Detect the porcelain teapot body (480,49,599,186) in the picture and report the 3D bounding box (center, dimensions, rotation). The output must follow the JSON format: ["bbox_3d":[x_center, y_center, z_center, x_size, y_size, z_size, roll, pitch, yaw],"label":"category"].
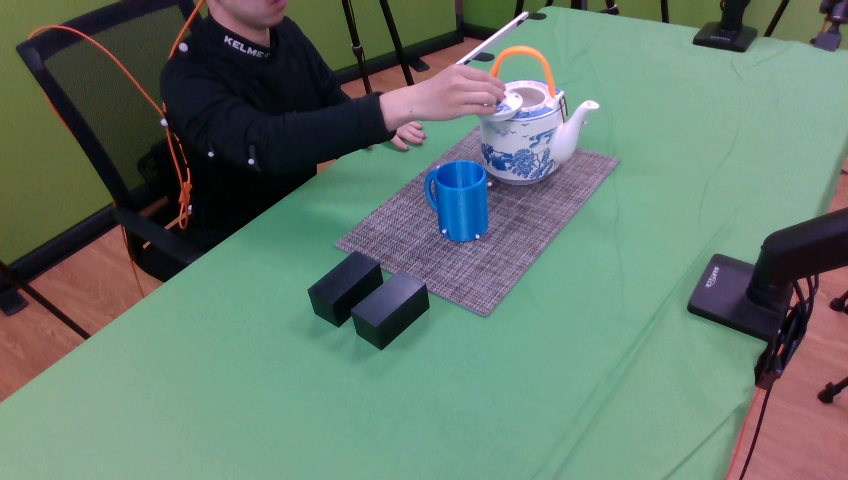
[{"bbox_3d":[0.193,-0.208,1.023,0.204,0.226,0.145,16,46,25],"label":"porcelain teapot body"}]

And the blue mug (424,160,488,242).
[{"bbox_3d":[0.047,-0.067,0.970,0.115,0.106,0.082,22,49,30],"label":"blue mug"}]

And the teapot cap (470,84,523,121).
[{"bbox_3d":[0.113,-0.219,0.947,0.085,0.044,0.085,-4,41,4],"label":"teapot cap"}]
